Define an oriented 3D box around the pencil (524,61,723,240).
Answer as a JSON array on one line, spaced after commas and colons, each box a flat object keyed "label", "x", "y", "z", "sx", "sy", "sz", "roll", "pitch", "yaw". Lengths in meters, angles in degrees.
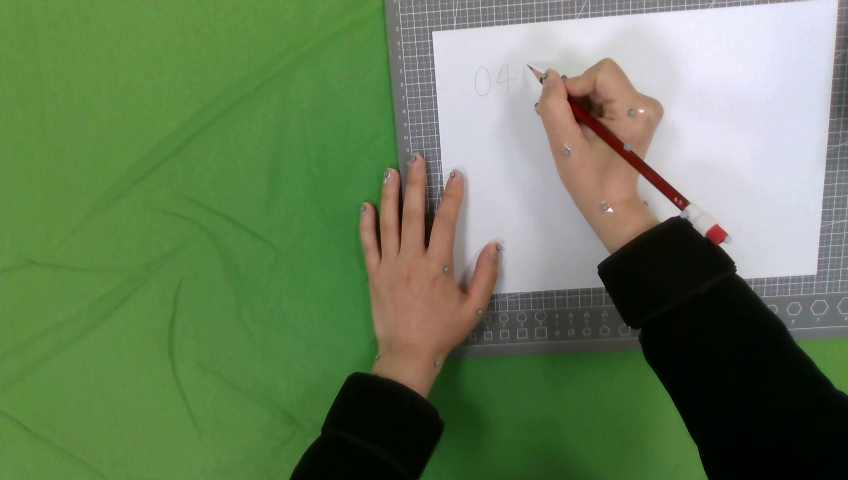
[{"label": "pencil", "x": 0.124, "y": -0.068, "z": 0.407, "sx": 0.012, "sy": 0.012, "sz": 0.192, "roll": -43, "pitch": 58, "yaw": 12}]
